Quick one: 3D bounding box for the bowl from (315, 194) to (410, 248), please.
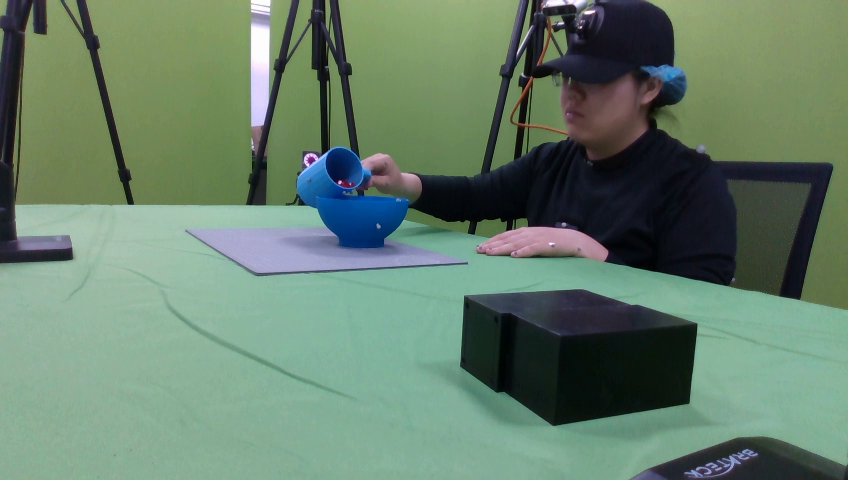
[{"bbox_3d":[-0.100,-0.030,0.971,0.151,0.077,0.151,2,7,0],"label":"bowl"}]

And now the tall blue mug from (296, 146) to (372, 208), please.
[{"bbox_3d":[-0.155,-0.114,1.058,0.107,0.078,0.107,-38,9,-39],"label":"tall blue mug"}]
